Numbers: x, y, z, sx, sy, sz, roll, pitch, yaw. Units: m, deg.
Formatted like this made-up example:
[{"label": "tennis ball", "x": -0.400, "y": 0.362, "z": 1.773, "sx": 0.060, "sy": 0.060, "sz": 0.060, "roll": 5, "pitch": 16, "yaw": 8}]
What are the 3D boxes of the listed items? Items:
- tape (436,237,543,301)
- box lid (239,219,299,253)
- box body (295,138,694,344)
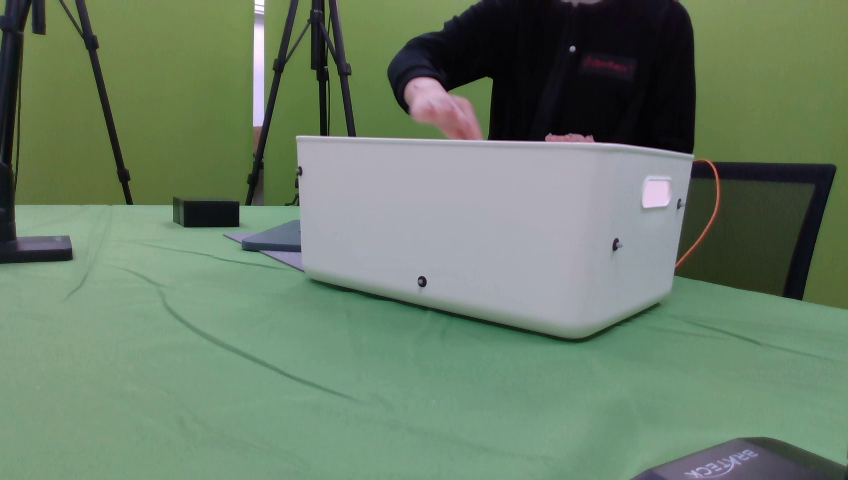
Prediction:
[{"label": "tape", "x": 0.072, "y": 0.029, "z": 0.658, "sx": 0.117, "sy": 0.052, "sz": 0.117, "roll": 3, "pitch": 7, "yaw": 0}, {"label": "box lid", "x": -0.141, "y": -0.007, "z": 1.057, "sx": 0.263, "sy": 0.015, "sz": 0.371, "roll": 4, "pitch": 7, "yaw": 0}, {"label": "box body", "x": 0.065, "y": -0.020, "z": 0.653, "sx": 0.362, "sy": 0.160, "sz": 0.255, "roll": 9, "pitch": 9, "yaw": 36}]
